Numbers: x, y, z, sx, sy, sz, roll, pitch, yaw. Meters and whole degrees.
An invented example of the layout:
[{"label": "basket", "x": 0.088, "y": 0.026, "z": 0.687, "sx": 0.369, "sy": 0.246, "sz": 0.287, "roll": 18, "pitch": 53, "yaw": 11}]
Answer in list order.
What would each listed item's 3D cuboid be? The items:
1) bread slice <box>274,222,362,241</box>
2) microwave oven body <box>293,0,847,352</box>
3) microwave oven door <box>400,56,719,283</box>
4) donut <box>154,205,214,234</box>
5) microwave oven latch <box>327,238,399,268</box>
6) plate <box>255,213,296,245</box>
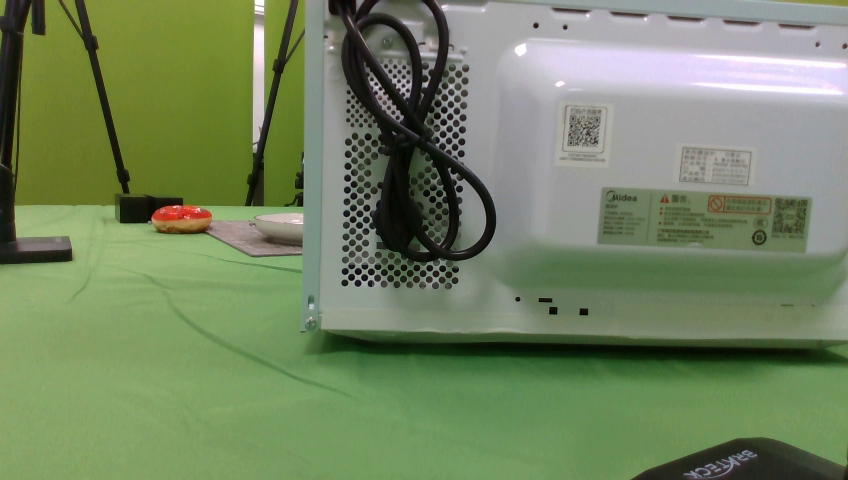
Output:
[{"label": "bread slice", "x": -0.181, "y": -0.016, "z": 1.011, "sx": 0.104, "sy": 0.019, "sz": 0.132, "roll": 5, "pitch": 8, "yaw": 27}, {"label": "microwave oven body", "x": 0.122, "y": -0.055, "z": 0.550, "sx": 0.442, "sy": 0.260, "sz": 0.325, "roll": 3, "pitch": 7, "yaw": -5}, {"label": "microwave oven door", "x": 0.155, "y": -0.078, "z": 0.697, "sx": 0.356, "sy": 0.243, "sz": 0.039, "roll": 2, "pitch": 8, "yaw": -5}, {"label": "donut", "x": -0.426, "y": -0.037, "z": 1.075, "sx": 0.099, "sy": 0.048, "sz": 0.099, "roll": 2, "pitch": 12, "yaw": 0}, {"label": "microwave oven latch", "x": -0.069, "y": 0.015, "z": 0.694, "sx": 0.079, "sy": 0.029, "sz": 0.030, "roll": 3, "pitch": 7, "yaw": -3}, {"label": "plate", "x": -0.177, "y": -0.018, "z": 1.017, "sx": 0.208, "sy": 0.039, "sz": 0.207, "roll": 2, "pitch": 7, "yaw": 0}]
